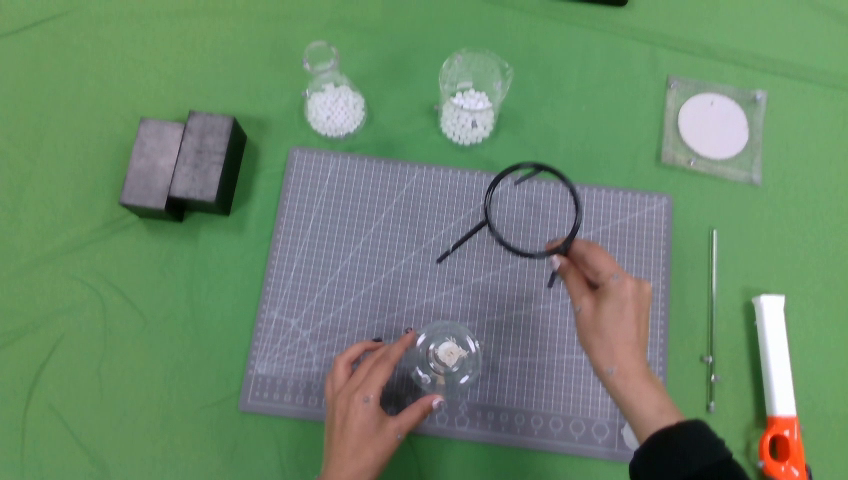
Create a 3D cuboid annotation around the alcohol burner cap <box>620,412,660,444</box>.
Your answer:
[{"bbox_3d":[0.225,0.195,0.625,0.034,0.048,0.033,1,76,-2],"label":"alcohol burner cap"}]

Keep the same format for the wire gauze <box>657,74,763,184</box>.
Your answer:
[{"bbox_3d":[0.345,-0.137,0.729,0.125,0.011,0.121,12,77,0],"label":"wire gauze"}]

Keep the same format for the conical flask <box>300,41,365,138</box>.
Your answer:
[{"bbox_3d":[-0.107,-0.169,0.667,0.075,0.122,0.075,0,76,-1],"label":"conical flask"}]

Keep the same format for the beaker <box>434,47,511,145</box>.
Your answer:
[{"bbox_3d":[0.051,-0.157,0.680,0.084,0.100,0.073,-19,77,-6],"label":"beaker"}]

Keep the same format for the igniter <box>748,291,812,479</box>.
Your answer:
[{"bbox_3d":[0.375,0.191,0.640,0.057,0.025,0.275,3,77,-11],"label":"igniter"}]

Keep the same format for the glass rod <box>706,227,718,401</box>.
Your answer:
[{"bbox_3d":[0.324,0.079,0.679,0.008,0.008,0.198,10,74,1],"label":"glass rod"}]

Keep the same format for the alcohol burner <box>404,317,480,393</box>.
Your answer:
[{"bbox_3d":[0.019,0.113,0.603,0.078,0.119,0.077,1,75,-3],"label":"alcohol burner"}]

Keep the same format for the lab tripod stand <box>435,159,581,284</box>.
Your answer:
[{"bbox_3d":[0.088,-0.014,0.602,0.148,0.132,0.147,1,79,-5],"label":"lab tripod stand"}]
